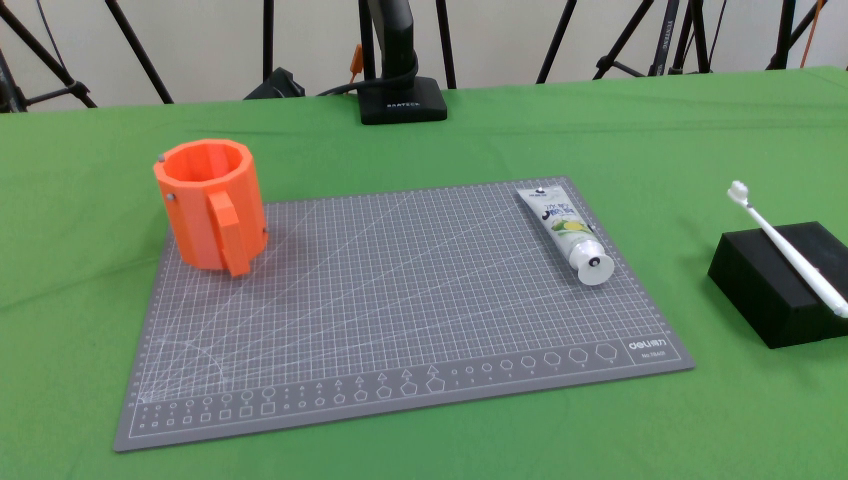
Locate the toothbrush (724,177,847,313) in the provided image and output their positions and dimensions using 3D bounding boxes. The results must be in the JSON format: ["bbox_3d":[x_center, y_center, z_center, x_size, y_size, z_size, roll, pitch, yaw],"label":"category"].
[{"bbox_3d":[0.317,-0.003,0.537,0.014,0.017,0.180,0,39,-9],"label":"toothbrush"}]

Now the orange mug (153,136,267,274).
[{"bbox_3d":[-0.194,-0.029,0.570,0.083,0.101,0.125,-19,39,-22],"label":"orange mug"}]

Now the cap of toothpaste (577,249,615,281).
[{"bbox_3d":[0.158,0.022,0.559,0.037,0.037,0.011,-7,36,-9],"label":"cap of toothpaste"}]

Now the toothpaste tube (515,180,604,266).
[{"bbox_3d":[0.145,-0.021,0.623,0.055,0.035,0.163,-2,34,-13],"label":"toothpaste tube"}]
